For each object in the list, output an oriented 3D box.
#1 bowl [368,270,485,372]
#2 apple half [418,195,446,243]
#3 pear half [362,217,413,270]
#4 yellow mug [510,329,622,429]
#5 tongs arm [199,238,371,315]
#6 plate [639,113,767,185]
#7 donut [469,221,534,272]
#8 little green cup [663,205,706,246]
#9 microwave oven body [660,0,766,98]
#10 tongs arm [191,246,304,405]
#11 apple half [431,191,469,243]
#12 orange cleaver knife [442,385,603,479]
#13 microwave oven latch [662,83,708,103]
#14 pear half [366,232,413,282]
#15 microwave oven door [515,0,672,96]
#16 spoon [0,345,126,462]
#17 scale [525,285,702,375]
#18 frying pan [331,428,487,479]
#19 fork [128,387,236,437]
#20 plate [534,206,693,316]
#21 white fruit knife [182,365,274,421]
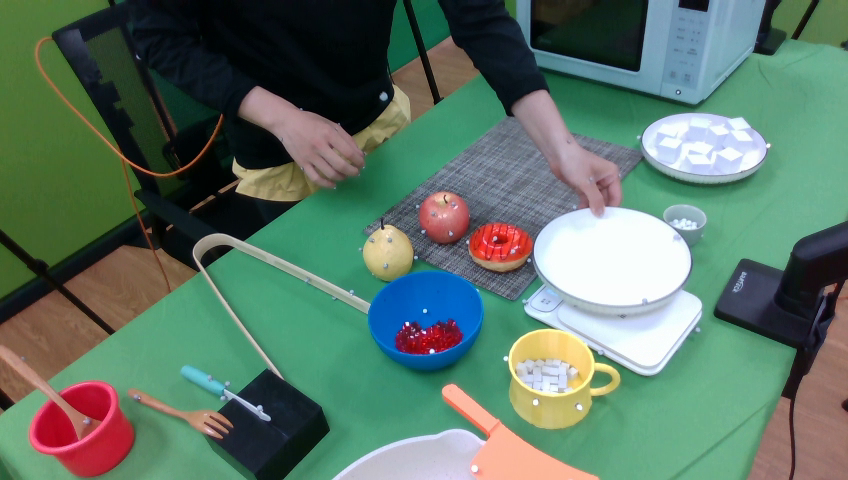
[{"bbox_3d":[0.007,0.118,0.791,0.151,0.077,0.150,-5,40,4],"label":"bowl"},{"bbox_3d":[0.008,-0.027,0.959,0.033,0.081,0.080,-14,41,-12],"label":"apple half"},{"bbox_3d":[-0.059,0.002,0.913,0.076,0.110,0.055,-14,41,-13],"label":"pear half"},{"bbox_3d":[0.168,0.164,0.721,0.130,0.064,0.099,0,40,8],"label":"yellow mug"},{"bbox_3d":[-0.209,0.064,0.924,0.381,0.027,0.051,22,53,32],"label":"tongs arm"},{"bbox_3d":[0.489,-0.157,1.074,0.207,0.039,0.206,-4,40,4],"label":"plate"},{"bbox_3d":[0.118,0.009,0.923,0.099,0.048,0.098,-2,39,2],"label":"donut"},{"bbox_3d":[0.396,-0.021,0.926,0.061,0.039,0.061,-3,40,3],"label":"little green cup"},{"bbox_3d":[0.472,-0.513,1.317,0.438,0.261,0.327,26,51,34],"label":"microwave oven body"},{"bbox_3d":[-0.268,0.112,0.883,0.028,0.028,0.384,-36,46,-18],"label":"tongs arm"},{"bbox_3d":[0.045,-0.038,0.968,0.053,0.075,0.080,-14,37,-11],"label":"apple half"},{"bbox_3d":[0.086,0.219,0.612,0.209,0.012,0.077,28,49,35],"label":"orange cleaver knife"},{"bbox_3d":[0.517,-0.296,1.204,0.078,0.029,0.030,28,52,35],"label":"microwave oven latch"},{"bbox_3d":[-0.048,0.031,0.893,0.071,0.088,0.031,-16,40,-13],"label":"pear half"},{"bbox_3d":[0.344,-0.455,1.259,0.353,0.245,0.039,26,51,33],"label":"microwave oven door"},{"bbox_3d":[-0.434,0.192,0.720,0.194,0.021,0.042,47,53,-7],"label":"spoon"},{"bbox_3d":[0.254,0.092,0.821,0.199,0.032,0.149,28,51,35],"label":"scale"},{"bbox_3d":[-0.089,0.306,0.564,0.487,0.103,0.306,9,41,7],"label":"frying pan"},{"bbox_3d":[-0.305,0.207,0.744,0.206,0.019,0.028,3,40,36],"label":"fork"},{"bbox_3d":[0.255,0.030,0.828,0.209,0.038,0.208,-4,40,4],"label":"plate"},{"bbox_3d":[-0.245,0.187,0.747,0.205,0.027,0.016,9,41,41],"label":"white fruit knife"}]
